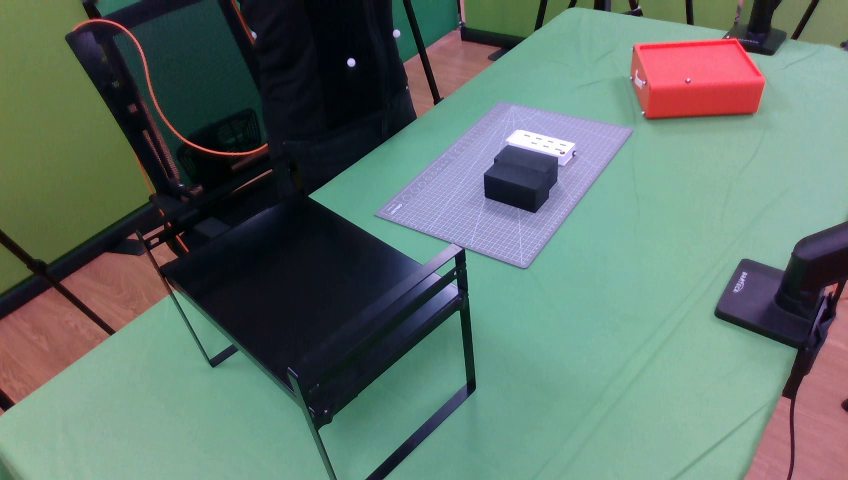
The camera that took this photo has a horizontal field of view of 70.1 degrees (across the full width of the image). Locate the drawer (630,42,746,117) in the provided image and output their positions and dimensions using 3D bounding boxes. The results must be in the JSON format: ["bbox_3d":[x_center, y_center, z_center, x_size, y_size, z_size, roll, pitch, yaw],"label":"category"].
[{"bbox_3d":[0.542,-0.331,1.235,0.211,0.073,0.194,-1,40,7],"label":"drawer"}]

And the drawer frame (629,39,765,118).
[{"bbox_3d":[0.543,-0.332,1.234,0.213,0.083,0.201,-1,41,6],"label":"drawer frame"}]

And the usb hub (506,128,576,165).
[{"bbox_3d":[0.219,-0.177,1.142,0.124,0.025,0.049,21,49,30],"label":"usb hub"}]
